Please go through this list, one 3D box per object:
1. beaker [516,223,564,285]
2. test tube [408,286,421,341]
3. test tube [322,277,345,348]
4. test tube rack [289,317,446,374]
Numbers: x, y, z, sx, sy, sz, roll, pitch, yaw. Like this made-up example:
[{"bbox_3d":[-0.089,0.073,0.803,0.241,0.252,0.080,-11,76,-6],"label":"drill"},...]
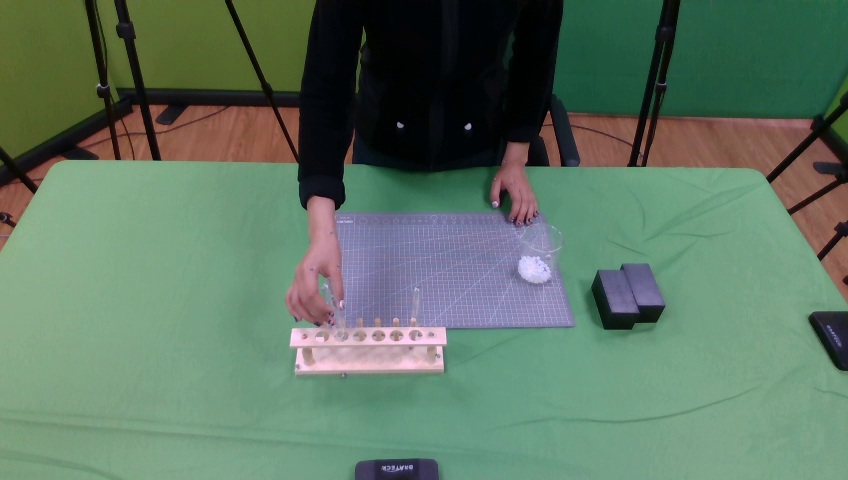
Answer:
[{"bbox_3d":[0.211,0.029,1.131,0.084,0.101,0.073,-1,46,-4],"label":"beaker"},{"bbox_3d":[-0.016,0.124,0.973,0.017,0.151,0.017,3,46,-2],"label":"test tube"},{"bbox_3d":[-0.135,0.113,0.914,0.017,0.151,0.017,-2,41,2],"label":"test tube"},{"bbox_3d":[-0.089,0.167,0.987,0.242,0.085,0.066,0,46,-4],"label":"test tube rack"}]
